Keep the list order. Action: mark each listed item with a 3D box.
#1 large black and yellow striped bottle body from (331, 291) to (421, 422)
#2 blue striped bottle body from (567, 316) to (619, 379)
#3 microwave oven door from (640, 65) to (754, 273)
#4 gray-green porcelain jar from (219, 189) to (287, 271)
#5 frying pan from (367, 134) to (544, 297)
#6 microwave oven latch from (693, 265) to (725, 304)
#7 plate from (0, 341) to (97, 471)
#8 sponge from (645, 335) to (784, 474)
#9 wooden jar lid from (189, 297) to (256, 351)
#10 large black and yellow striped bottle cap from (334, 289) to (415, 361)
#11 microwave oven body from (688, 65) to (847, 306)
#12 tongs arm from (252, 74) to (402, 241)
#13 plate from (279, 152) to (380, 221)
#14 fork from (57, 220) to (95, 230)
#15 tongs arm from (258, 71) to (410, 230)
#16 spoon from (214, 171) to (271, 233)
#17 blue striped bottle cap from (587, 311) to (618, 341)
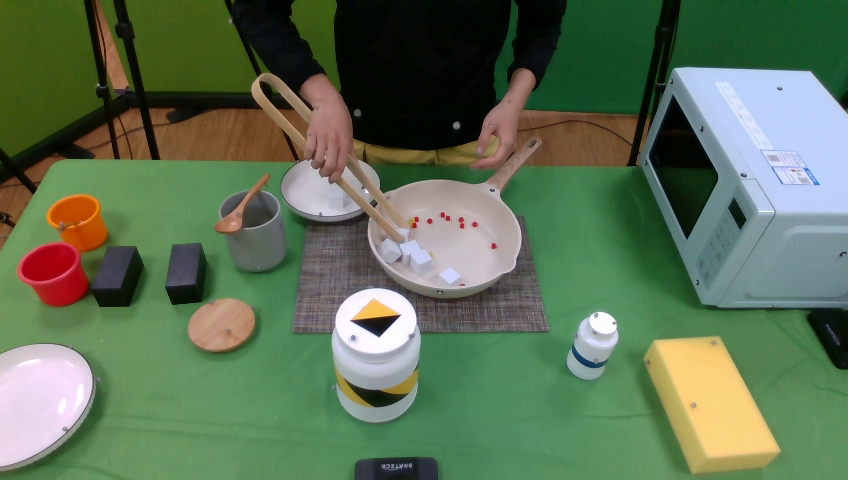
[{"bbox_3d":[-0.071,0.175,0.911,0.131,0.185,0.130,2,47,-2],"label":"large black and yellow striped bottle body"},{"bbox_3d":[0.276,0.168,0.984,0.063,0.121,0.062,2,46,-2],"label":"blue striped bottle body"},{"bbox_3d":[0.522,-0.147,1.193,0.039,0.245,0.353,0,47,-3],"label":"microwave oven door"},{"bbox_3d":[-0.309,-0.014,1.114,0.106,0.127,0.105,2,46,-2],"label":"gray-green porcelain jar"},{"bbox_3d":[0.104,-0.069,1.205,0.305,0.103,0.487,33,61,23],"label":"frying pan"},{"bbox_3d":[0.523,0.081,1.116,0.030,0.029,0.078,2,46,-1],"label":"microwave oven latch"},{"bbox_3d":[-0.599,0.247,0.904,0.209,0.038,0.208,2,47,-2],"label":"plate"},{"bbox_3d":[0.449,0.253,0.956,0.118,0.061,0.205,-4,46,-7],"label":"sponge"},{"bbox_3d":[-0.342,0.145,1.033,0.108,0.021,0.107,2,45,-2],"label":"wooden jar lid"},{"bbox_3d":[-0.069,0.117,0.850,0.115,0.019,0.114,2,45,-2],"label":"large black and yellow striped bottle cap"},{"bbox_3d":[0.669,-0.111,1.176,0.326,0.261,0.439,0,46,-3],"label":"microwave oven body"},{"bbox_3d":[-0.173,-0.140,1.103,0.389,0.028,0.028,47,50,-16],"label":"tongs arm"},{"bbox_3d":[-0.196,-0.108,1.269,0.208,0.039,0.206,2,45,-2],"label":"plate"},{"bbox_3d":[-0.624,-0.027,1.086,0.028,0.207,0.018,-2,92,-17],"label":"fork"},{"bbox_3d":[-0.163,-0.155,1.120,0.386,0.026,0.050,50,46,-13],"label":"tongs arm"},{"bbox_3d":[-0.312,-0.070,1.070,0.041,0.022,0.193,10,43,10],"label":"spoon"},{"bbox_3d":[0.279,0.134,0.946,0.044,0.021,0.044,2,45,-2],"label":"blue striped bottle cap"}]
